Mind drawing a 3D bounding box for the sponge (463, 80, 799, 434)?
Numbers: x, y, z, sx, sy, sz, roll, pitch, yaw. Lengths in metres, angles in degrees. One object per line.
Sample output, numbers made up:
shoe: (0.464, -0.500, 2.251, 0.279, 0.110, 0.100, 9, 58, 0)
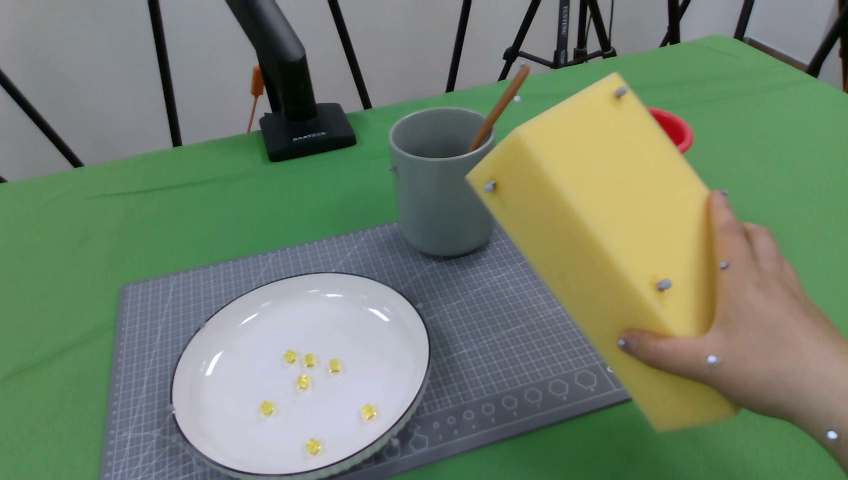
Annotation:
sponge: (0.138, 0.007, 0.400, 0.118, 0.061, 0.206, -36, 86, -37)

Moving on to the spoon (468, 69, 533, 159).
spoon: (0.052, -0.081, 0.595, 0.022, 0.194, 0.041, 19, 30, -15)

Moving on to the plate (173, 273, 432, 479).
plate: (-0.096, 0.109, 0.502, 0.207, 0.039, 0.205, -3, 39, 2)

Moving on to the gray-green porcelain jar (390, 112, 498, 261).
gray-green porcelain jar: (0.023, -0.051, 0.620, 0.106, 0.127, 0.105, -3, 39, 3)
